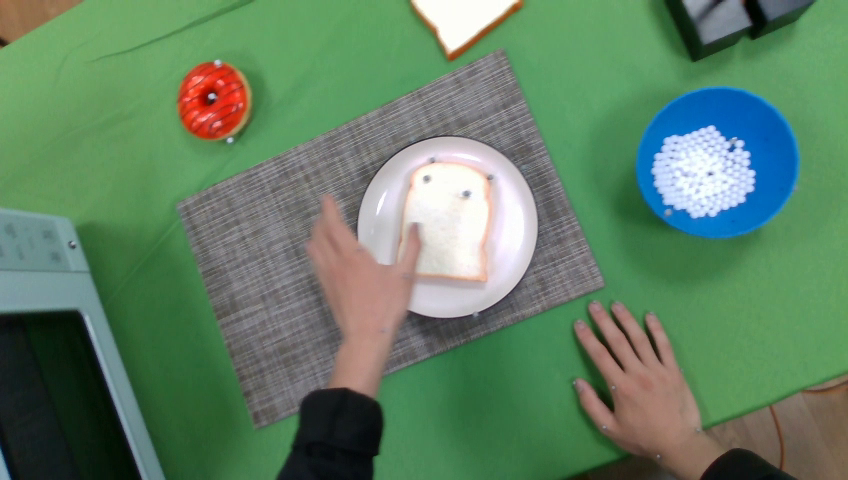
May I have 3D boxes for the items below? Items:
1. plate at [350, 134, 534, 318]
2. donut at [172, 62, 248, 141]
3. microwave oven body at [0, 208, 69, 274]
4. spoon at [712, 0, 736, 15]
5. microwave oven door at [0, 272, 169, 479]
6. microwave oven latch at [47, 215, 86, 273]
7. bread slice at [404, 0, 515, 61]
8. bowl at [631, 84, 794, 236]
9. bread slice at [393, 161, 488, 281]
[{"bbox_3d":[0.021,-0.014,0.692,0.207,0.039,0.207,-1,87,10],"label":"plate"},{"bbox_3d":[-0.267,-0.172,0.754,0.099,0.048,0.099,-1,87,13],"label":"donut"},{"bbox_3d":[-0.538,0.224,0.669,0.326,0.261,0.440,-25,83,7],"label":"microwave oven body"},{"bbox_3d":[0.290,-0.263,0.580,0.021,0.194,0.041,-23,80,23],"label":"spoon"},{"bbox_3d":[-0.390,0.199,0.638,0.039,0.244,0.354,-26,82,8],"label":"microwave oven door"},{"bbox_3d":[-0.459,0.008,0.764,0.030,0.029,0.079,-25,83,7],"label":"microwave oven latch"},{"bbox_3d":[0.027,-0.294,0.720,0.105,0.019,0.131,-38,83,5],"label":"bread slice"},{"bbox_3d":[0.288,-0.076,0.630,0.151,0.077,0.151,-1,86,10],"label":"bowl"},{"bbox_3d":[0.020,-0.022,0.693,0.107,0.018,0.134,2,88,10],"label":"bread slice"}]
